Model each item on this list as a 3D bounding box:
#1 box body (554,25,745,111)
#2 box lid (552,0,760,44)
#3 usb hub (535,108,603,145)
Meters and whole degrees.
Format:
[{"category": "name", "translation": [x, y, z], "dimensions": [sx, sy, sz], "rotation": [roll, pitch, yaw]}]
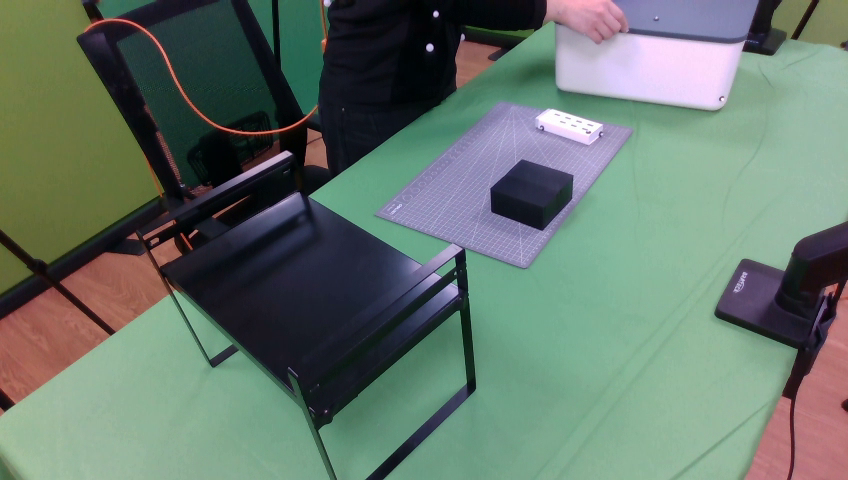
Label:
[{"category": "box body", "translation": [0.481, -0.417, 1.281], "dimensions": [0.362, 0.161, 0.254], "rotation": [15, 46, 24]}, {"category": "box lid", "translation": [0.471, -0.473, 1.234], "dimensions": [0.369, 0.015, 0.263], "rotation": [16, 45, 24]}, {"category": "usb hub", "translation": [0.284, -0.224, 1.188], "dimensions": [0.124, 0.025, 0.049], "rotation": [28, 52, 35]}]
